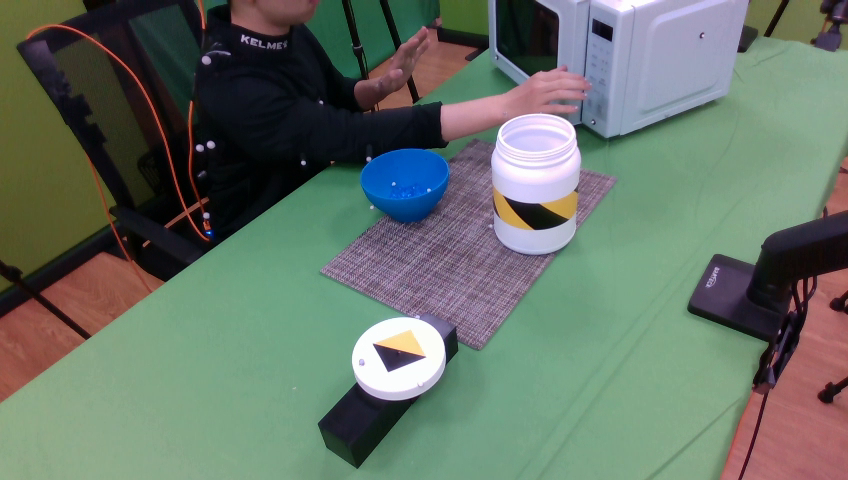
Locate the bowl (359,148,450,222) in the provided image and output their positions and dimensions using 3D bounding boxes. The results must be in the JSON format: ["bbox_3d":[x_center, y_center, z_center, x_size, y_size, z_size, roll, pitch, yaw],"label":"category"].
[{"bbox_3d":[-0.029,-0.083,1.022,0.151,0.077,0.150,-4,40,4],"label":"bowl"}]

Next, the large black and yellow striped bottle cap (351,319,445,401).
[{"bbox_3d":[-0.031,0.143,0.735,0.115,0.019,0.114,-3,40,3],"label":"large black and yellow striped bottle cap"}]

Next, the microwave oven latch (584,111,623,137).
[{"bbox_3d":[0.337,-0.222,1.142,0.030,0.029,0.078,-21,42,-14],"label":"microwave oven latch"}]

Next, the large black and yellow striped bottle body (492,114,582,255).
[{"bbox_3d":[0.169,-0.083,0.912,0.131,0.185,0.130,-4,41,4],"label":"large black and yellow striped bottle body"}]

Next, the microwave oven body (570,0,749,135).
[{"bbox_3d":[0.382,-0.444,1.246,0.327,0.261,0.437,-22,42,-16],"label":"microwave oven body"}]

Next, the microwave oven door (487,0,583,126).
[{"bbox_3d":[0.219,-0.415,1.227,0.039,0.245,0.353,-19,42,-13],"label":"microwave oven door"}]
